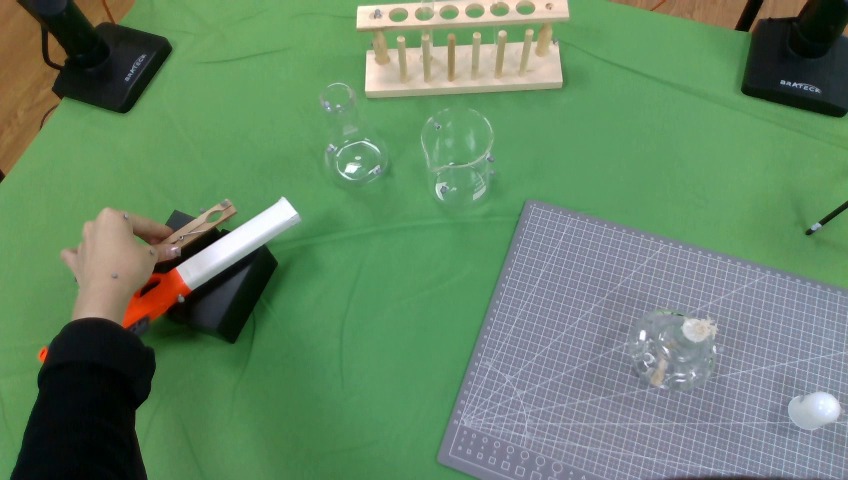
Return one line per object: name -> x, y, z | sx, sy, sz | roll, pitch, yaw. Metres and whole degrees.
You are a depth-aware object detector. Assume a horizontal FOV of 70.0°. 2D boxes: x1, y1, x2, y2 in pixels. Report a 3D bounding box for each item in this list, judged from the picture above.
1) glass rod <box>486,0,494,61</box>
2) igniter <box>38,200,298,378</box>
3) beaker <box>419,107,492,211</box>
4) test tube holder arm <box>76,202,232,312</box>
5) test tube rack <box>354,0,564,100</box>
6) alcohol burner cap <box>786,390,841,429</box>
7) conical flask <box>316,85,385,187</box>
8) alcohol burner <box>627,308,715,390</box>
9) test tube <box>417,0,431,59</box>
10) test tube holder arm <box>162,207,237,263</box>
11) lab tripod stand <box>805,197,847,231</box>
glass rod -> 0.072, -0.280, 0.679 | 0.008, 0.201, 0.008 | -4, 57, 6
igniter -> -0.250, 0.047, 0.602 | 0.276, 0.025, 0.056 | -36, 58, -13
beaker -> 0.033, -0.080, 0.655 | 0.073, 0.101, 0.084 | 32, 71, 18
test tube holder arm -> -0.273, 0.016, 0.618 | 0.178, 0.015, 0.013 | -35, 91, -8
test tube rack -> 0.042, -0.228, 0.730 | 0.242, 0.086, 0.066 | -3, 64, 3
alcohol burner cap -> 0.358, 0.152, 0.552 | 0.034, 0.048, 0.033 | -1, 65, 3
conical flask -> -0.087, -0.117, 0.667 | 0.075, 0.123, 0.074 | -2, 64, 4
alcohol burner -> 0.228, 0.094, 0.549 | 0.078, 0.120, 0.077 | -1, 64, 2
test tube -> 0.000, -0.263, 0.694 | 0.017, 0.151, 0.017 | 1, 63, -1
test tube holder arm -> -0.233, -0.005, 0.625 | 0.088, 0.015, 0.010 | -35, 91, -8
lab tripod stand -> 0.476, -0.054, 0.593 | 0.148, 0.132, 0.147 | -1, 64, 2
